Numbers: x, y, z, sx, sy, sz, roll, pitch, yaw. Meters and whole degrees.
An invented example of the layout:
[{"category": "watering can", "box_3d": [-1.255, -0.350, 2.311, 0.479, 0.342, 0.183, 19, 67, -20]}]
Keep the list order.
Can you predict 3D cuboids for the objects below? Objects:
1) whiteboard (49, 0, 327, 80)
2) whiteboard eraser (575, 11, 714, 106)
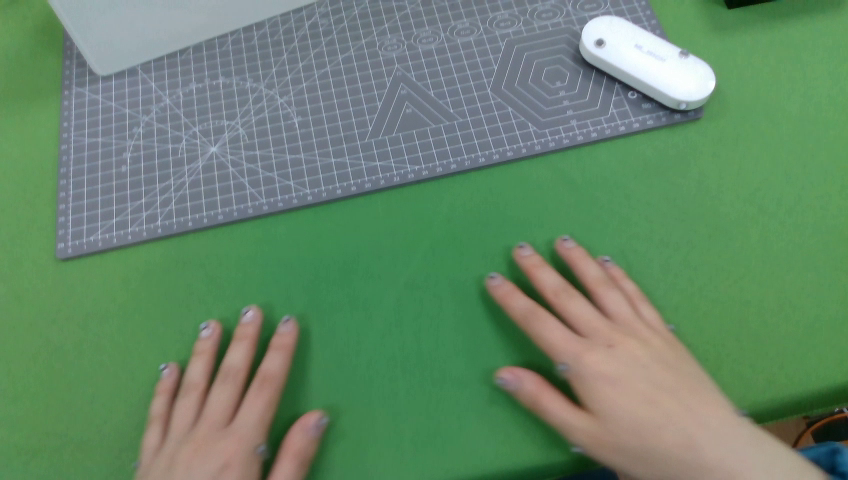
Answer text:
[{"category": "whiteboard", "box_3d": [-0.197, -0.308, 0.405, 0.217, 0.308, 0.142, -22, 47, -6]}, {"category": "whiteboard eraser", "box_3d": [0.156, -0.130, 0.431, 0.100, 0.019, 0.041, 36, 72, 18]}]
